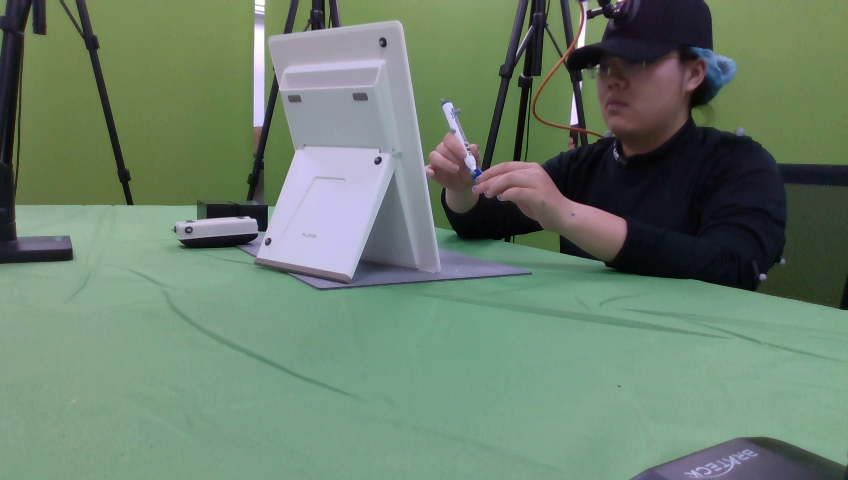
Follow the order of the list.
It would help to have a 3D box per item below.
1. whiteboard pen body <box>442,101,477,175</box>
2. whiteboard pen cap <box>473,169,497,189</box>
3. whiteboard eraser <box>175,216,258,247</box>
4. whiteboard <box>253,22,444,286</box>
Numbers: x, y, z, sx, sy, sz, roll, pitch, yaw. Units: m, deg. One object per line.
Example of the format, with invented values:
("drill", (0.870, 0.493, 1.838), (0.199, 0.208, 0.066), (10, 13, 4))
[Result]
("whiteboard pen body", (0.055, -0.146, 0.885), (0.017, 0.140, 0.017), (-17, -23, -7))
("whiteboard pen cap", (0.086, -0.085, 0.855), (0.033, 0.018, 0.018), (34, 4, -8))
("whiteboard eraser", (-0.313, -0.013, 0.914), (0.113, 0.042, 0.055), (-5, 11, -30))
("whiteboard", (-0.125, -0.081, 0.715), (0.216, 0.305, 0.144), (9, 29, 36))
